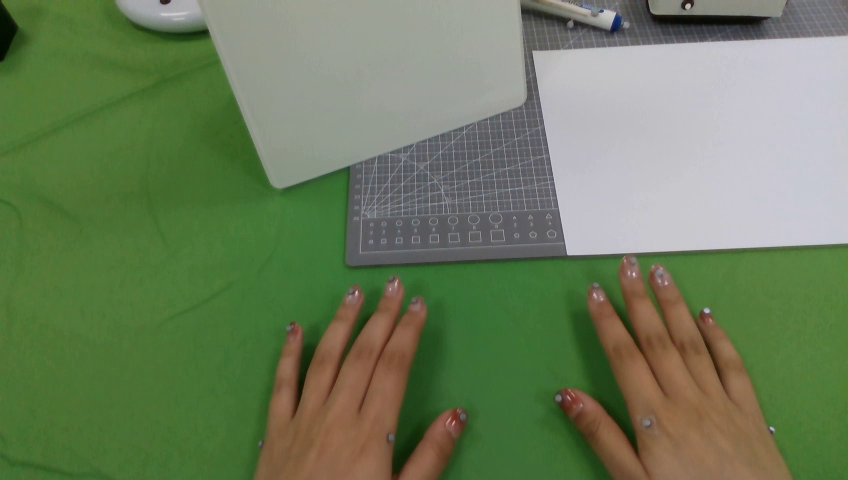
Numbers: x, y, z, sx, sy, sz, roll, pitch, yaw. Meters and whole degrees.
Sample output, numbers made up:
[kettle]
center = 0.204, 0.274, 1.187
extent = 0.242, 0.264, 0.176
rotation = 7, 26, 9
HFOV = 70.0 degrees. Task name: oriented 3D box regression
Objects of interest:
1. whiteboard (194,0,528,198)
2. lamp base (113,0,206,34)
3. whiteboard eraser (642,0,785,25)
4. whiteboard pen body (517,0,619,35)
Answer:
[whiteboard]
center = -0.064, -0.224, 0.435
extent = 0.217, 0.308, 0.142
rotation = -20, 39, -9
[lamp base]
center = -0.239, -0.307, 0.538
extent = 0.178, 0.182, 0.160
rotation = 33, 64, 25
[whiteboard eraser]
center = 0.252, -0.217, 0.536
extent = 0.112, 0.042, 0.055
rotation = 1, 55, 4
[whiteboard pen body]
center = 0.108, -0.212, 0.551
extent = 0.140, 0.017, 0.017
rotation = 20, 60, 12
